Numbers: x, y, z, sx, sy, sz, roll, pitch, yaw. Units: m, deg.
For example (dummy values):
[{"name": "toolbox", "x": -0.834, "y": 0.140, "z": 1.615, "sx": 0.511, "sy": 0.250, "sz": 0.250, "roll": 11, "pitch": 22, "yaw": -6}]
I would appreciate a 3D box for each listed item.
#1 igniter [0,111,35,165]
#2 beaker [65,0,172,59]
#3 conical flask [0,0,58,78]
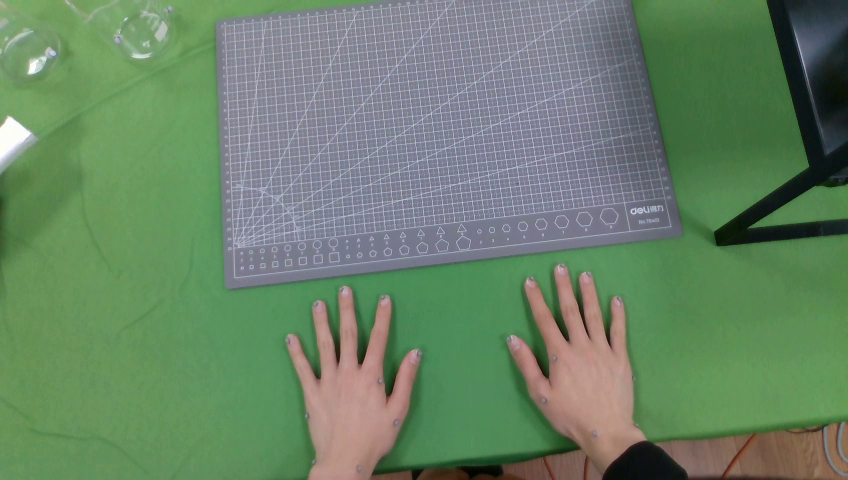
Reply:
[{"name": "igniter", "x": -0.472, "y": -0.009, "z": 0.550, "sx": 0.057, "sy": 0.025, "sz": 0.276, "roll": 37, "pitch": 76, "yaw": 8}, {"name": "beaker", "x": -0.309, "y": -0.237, "z": 0.614, "sx": 0.074, "sy": 0.101, "sz": 0.083, "roll": 8, "pitch": 77, "yaw": 4}, {"name": "conical flask", "x": -0.434, "y": -0.221, "z": 0.600, "sx": 0.075, "sy": 0.122, "sz": 0.075, "roll": 0, "pitch": 75, "yaw": 2}]
